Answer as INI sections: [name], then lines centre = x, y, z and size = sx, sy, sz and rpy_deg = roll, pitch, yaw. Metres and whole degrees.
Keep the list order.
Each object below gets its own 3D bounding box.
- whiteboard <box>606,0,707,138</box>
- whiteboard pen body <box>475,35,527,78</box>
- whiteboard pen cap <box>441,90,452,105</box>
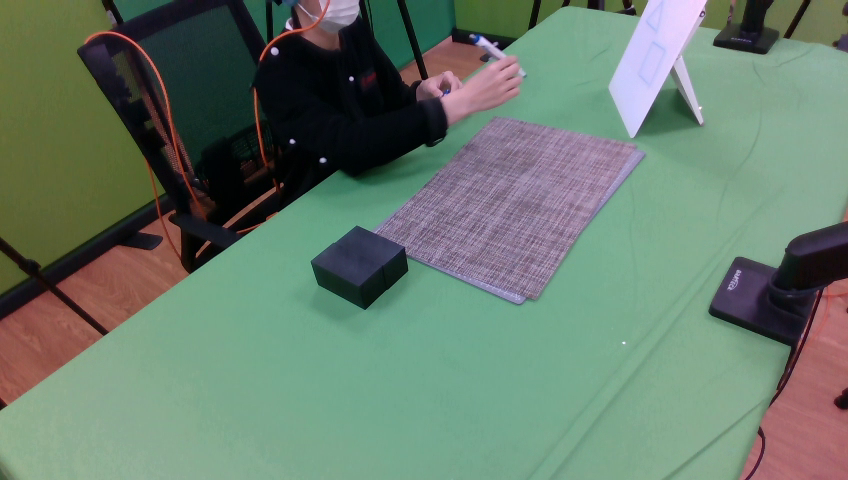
[whiteboard]
centre = 0.496, -0.359, 1.147
size = 0.144, 0.305, 0.216
rpy_deg = 11, 40, -7
[whiteboard pen body]
centre = 0.146, -0.337, 1.122
size = 0.017, 0.142, 0.017
rpy_deg = -28, 50, 40
[whiteboard pen cap]
centre = 0.046, -0.294, 1.245
size = 0.018, 0.018, 0.033
rpy_deg = 7, 52, 15
